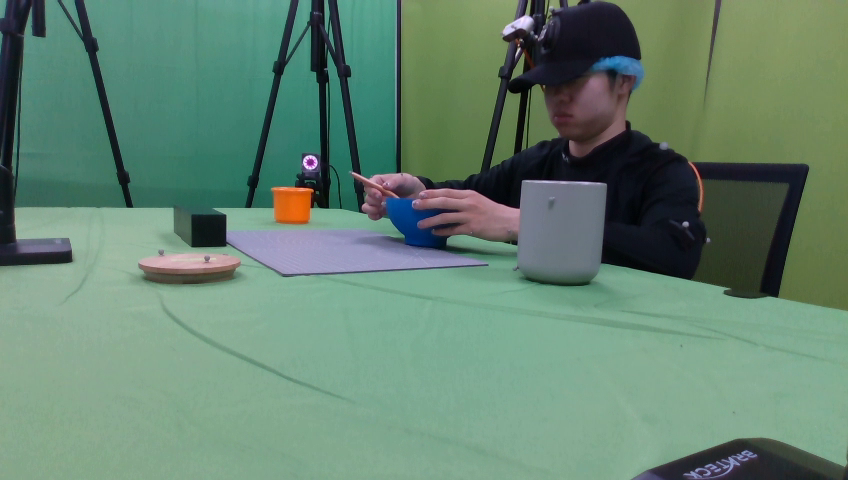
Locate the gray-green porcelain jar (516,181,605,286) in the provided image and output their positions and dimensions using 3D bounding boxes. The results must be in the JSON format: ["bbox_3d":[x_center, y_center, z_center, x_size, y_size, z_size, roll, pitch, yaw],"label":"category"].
[{"bbox_3d":[0.172,-0.011,0.768,0.106,0.126,0.106,2,7,0],"label":"gray-green porcelain jar"}]

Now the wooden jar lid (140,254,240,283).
[{"bbox_3d":[-0.269,0.032,0.698,0.108,0.020,0.108,2,5,0],"label":"wooden jar lid"}]

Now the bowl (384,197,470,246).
[{"bbox_3d":[0.003,-0.032,1.043,0.151,0.077,0.151,4,3,0],"label":"bowl"}]

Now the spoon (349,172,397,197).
[{"bbox_3d":[-0.053,-0.072,1.068,0.193,0.021,0.042,36,15,11],"label":"spoon"}]
